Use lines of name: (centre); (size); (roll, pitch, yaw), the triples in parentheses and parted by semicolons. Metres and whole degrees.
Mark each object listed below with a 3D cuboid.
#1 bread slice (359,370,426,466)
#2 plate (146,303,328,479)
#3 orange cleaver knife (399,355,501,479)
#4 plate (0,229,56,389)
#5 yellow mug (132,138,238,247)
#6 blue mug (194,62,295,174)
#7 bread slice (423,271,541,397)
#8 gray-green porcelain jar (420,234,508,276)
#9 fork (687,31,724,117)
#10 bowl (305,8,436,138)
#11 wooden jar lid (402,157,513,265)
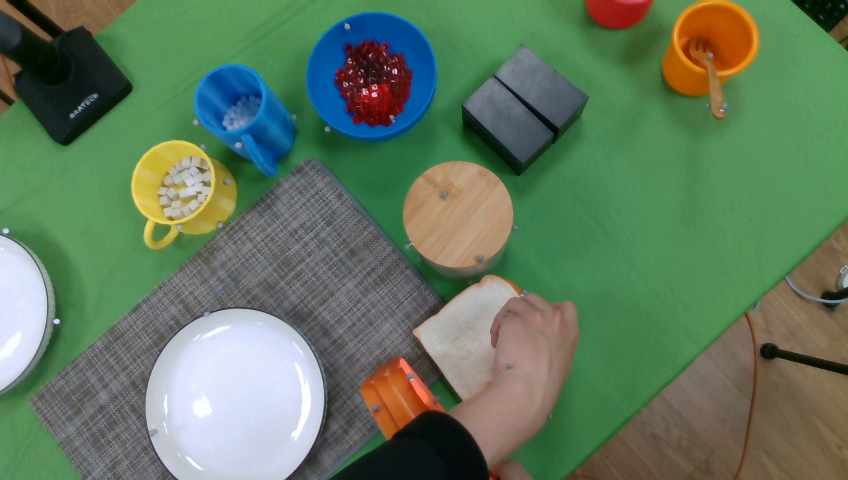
bread slice: (-0.033, 0.181, 0.629); (0.018, 0.135, 0.106); (-34, 79, -6)
plate: (-0.209, 0.176, 0.689); (0.209, 0.038, 0.208); (-1, 81, 5)
orange cleaver knife: (0.041, 0.199, 0.595); (0.012, 0.077, 0.212); (-37, 103, -4)
plate: (-0.543, 0.087, 0.736); (0.207, 0.039, 0.207); (-1, 81, 5)
yellow mug: (-0.291, -0.050, 0.722); (0.099, 0.064, 0.130); (26, 85, 9)
blue mug: (-0.201, -0.132, 0.708); (0.082, 0.106, 0.116); (-22, 80, 1)
bread slice: (0.069, 0.099, 0.673); (0.132, 0.019, 0.104); (-45, 70, 31)
gray-green porcelain jar: (0.040, -0.017, 0.658); (0.106, 0.127, 0.105); (-1, 80, 5)
fork: (0.304, -0.183, 0.650); (0.028, 0.019, 0.206); (21, 39, 2)
bowl: (-0.057, -0.184, 0.718); (0.151, 0.077, 0.151); (-1, 81, 5)
wooden jar lid: (0.033, -0.028, 0.597); (0.108, 0.021, 0.108); (0, 80, 2)
